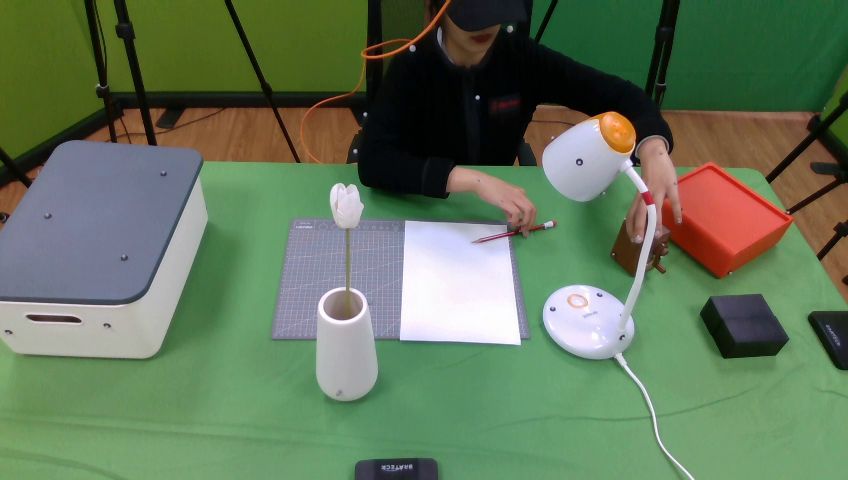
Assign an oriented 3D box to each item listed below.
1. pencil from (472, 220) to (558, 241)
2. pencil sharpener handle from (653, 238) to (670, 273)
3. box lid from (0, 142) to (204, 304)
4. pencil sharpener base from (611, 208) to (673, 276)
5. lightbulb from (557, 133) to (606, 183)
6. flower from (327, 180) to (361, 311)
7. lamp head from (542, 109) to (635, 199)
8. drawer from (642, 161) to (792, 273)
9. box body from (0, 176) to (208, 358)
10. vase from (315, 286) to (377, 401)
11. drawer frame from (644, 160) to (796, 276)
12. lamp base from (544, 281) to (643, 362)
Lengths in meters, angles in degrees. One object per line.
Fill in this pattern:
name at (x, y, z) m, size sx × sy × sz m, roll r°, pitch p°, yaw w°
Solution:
pencil at (0.186, -0.018, 1.232) m, size 0.194 × 0.012 × 0.012 m, roll -12°, pitch 48°, yaw -16°
pencil sharpener handle at (0.444, 0.030, 1.120) m, size 0.036 × 0.068 × 0.030 m, roll -25°, pitch 52°, yaw -18°
box lid at (-0.534, -0.044, 0.994) m, size 0.263 × 0.015 × 0.369 m, roll 3°, pitch 45°, yaw -3°
pencil sharpener base at (0.416, 0.007, 1.158) m, size 0.061 × 0.107 × 0.076 m, roll -21°, pitch 51°, yaw -22°
lightbulb at (0.242, -0.127, 0.916) m, size 0.059 × 0.108 × 0.059 m, roll 5°, pitch 67°, yaw -12°
flower at (-0.110, 0.086, 0.867) m, size 0.044 × 0.363 × 0.038 m, roll 22°, pitch 33°, yaw 35°
lamp head at (0.253, -0.131, 0.893) m, size 0.113 × 0.123 × 0.112 m, roll 10°, pitch 66°, yaw -24°
drawer at (0.596, -0.052, 1.244) m, size 0.194 × 0.073 × 0.210 m, roll -24°, pitch 51°, yaw -24°
box body at (-0.546, 0.017, 1.045) m, size 0.254 × 0.161 × 0.361 m, roll 2°, pitch 46°, yaw -2°
vase at (-0.119, 0.159, 0.911) m, size 0.098 × 0.201 × 0.097 m, roll 2°, pitch 47°, yaw -2°
drawer frame at (0.599, -0.051, 1.244) m, size 0.202 × 0.083 × 0.212 m, roll -24°, pitch 53°, yaw -25°
lamp base at (0.303, 0.095, 1.014) m, size 0.161 × 0.181 × 0.178 m, roll -24°, pitch 54°, yaw -24°
